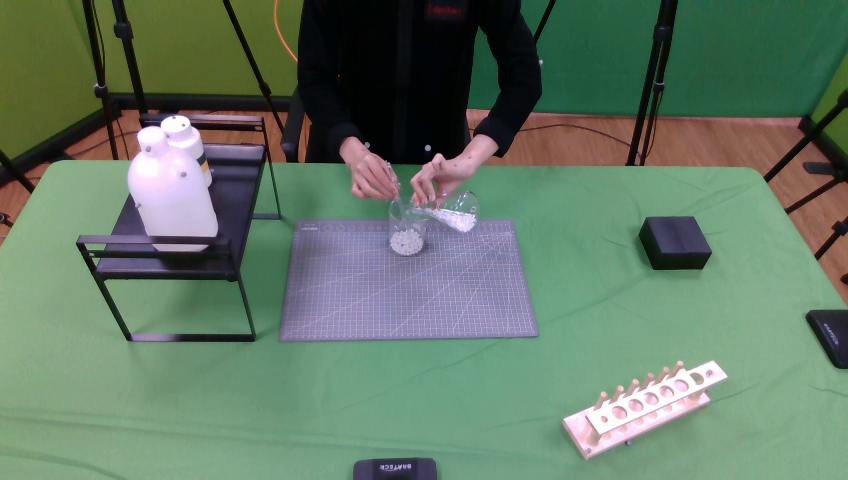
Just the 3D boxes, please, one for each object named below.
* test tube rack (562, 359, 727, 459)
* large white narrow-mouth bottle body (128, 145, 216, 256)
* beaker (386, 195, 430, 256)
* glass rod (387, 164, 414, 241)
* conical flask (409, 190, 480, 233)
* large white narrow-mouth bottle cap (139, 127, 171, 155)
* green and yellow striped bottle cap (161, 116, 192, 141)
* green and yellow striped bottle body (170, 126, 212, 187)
[{"bbox_3d":[0.341,0.247,0.940,0.243,0.085,0.066,-16,49,-18],"label":"test tube rack"},{"bbox_3d":[-0.366,-0.073,0.872,0.102,0.195,0.101,3,47,-3],"label":"large white narrow-mouth bottle body"},{"bbox_3d":[-0.031,-0.024,1.161,0.084,0.101,0.073,18,48,12],"label":"beaker"},{"bbox_3d":[-0.042,-0.064,1.124,0.008,0.201,0.008,-8,47,9],"label":"glass rod"},{"bbox_3d":[0.031,-0.058,1.075,0.121,0.076,0.075,12,43,34],"label":"conical flask"},{"bbox_3d":[-0.358,-0.132,0.807,0.038,0.024,0.037,3,47,-3],"label":"large white narrow-mouth bottle cap"},{"bbox_3d":[-0.387,-0.174,0.946,0.045,0.020,0.045,3,44,-3],"label":"green and yellow striped bottle cap"},{"bbox_3d":[-0.389,-0.139,0.984,0.063,0.120,0.063,2,46,-2],"label":"green and yellow striped bottle body"}]
